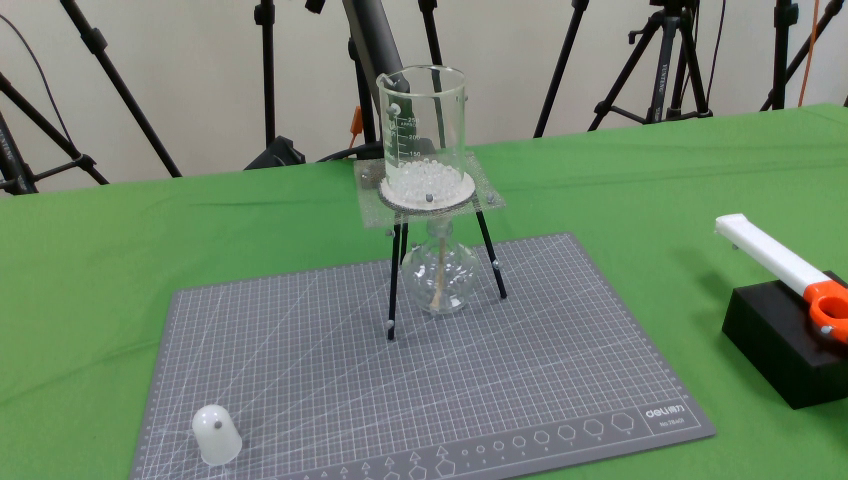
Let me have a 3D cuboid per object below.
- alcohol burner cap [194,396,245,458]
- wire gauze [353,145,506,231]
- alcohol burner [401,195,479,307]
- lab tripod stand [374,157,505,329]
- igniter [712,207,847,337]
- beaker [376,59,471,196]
[{"bbox_3d":[-0.160,0.141,0.470,0.034,0.048,0.033,-2,35,1],"label":"alcohol burner cap"},{"bbox_3d":[0.000,-0.054,0.544,0.121,0.011,0.123,-8,37,-7],"label":"wire gauze"},{"bbox_3d":[0.015,0.007,0.588,0.078,0.120,0.077,-1,36,1],"label":"alcohol burner"},{"bbox_3d":[0.007,-0.003,0.585,0.148,0.132,0.147,-1,33,1],"label":"lab tripod stand"},{"bbox_3d":[0.339,0.043,0.512,0.057,0.025,0.273,-10,32,-8],"label":"igniter"},{"bbox_3d":[-0.002,-0.095,0.518,0.074,0.101,0.083,-30,43,-35],"label":"beaker"}]
